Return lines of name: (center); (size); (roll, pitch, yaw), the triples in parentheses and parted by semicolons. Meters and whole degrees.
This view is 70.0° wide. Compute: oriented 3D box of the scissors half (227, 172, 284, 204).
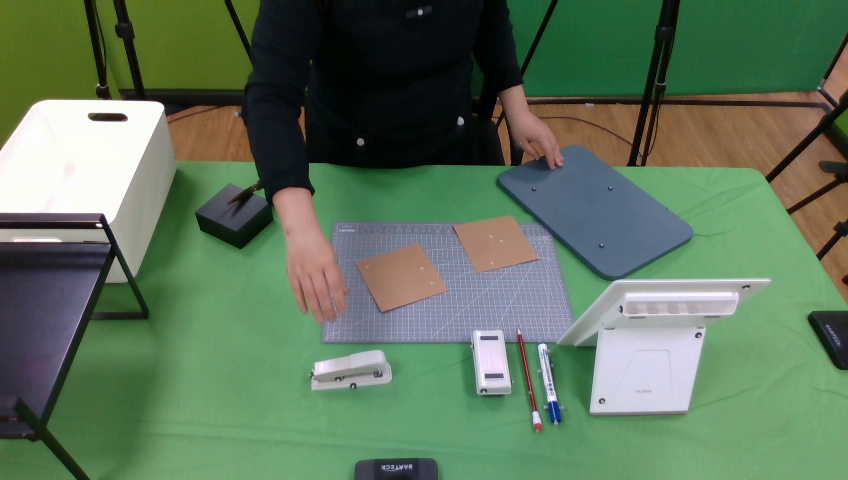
scissors half: (-0.340, -0.100, 1.230); (0.013, 0.040, 0.175); (20, 28, 18)

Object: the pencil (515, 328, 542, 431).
pencil: (0.169, 0.224, 1.002); (0.012, 0.012, 0.192); (-1, 46, -6)

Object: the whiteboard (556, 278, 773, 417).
whiteboard: (0.347, 0.174, 0.903); (0.217, 0.306, 0.143); (1, 65, -4)

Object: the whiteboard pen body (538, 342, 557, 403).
whiteboard pen body: (0.205, 0.229, 0.996); (0.017, 0.017, 0.140); (1, 46, -3)

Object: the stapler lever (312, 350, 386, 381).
stapler lever: (-0.120, 0.199, 0.963); (0.118, 0.040, 0.026); (-4, 44, -8)

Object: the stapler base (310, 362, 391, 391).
stapler base: (-0.119, 0.215, 0.980); (0.131, 0.024, 0.041); (-5, 44, -7)

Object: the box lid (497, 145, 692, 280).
box lid: (0.360, -0.073, 1.304); (0.263, 0.015, 0.369); (-24, 51, -25)

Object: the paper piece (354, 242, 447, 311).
paper piece: (-0.045, 0.066, 1.137); (0.136, 0.009, 0.137); (-14, 48, -22)

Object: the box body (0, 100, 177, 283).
box body: (-0.640, -0.095, 1.140); (0.254, 0.161, 0.361); (0, 46, -4)

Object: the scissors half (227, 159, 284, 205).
scissors half: (-0.337, -0.116, 1.217); (0.013, 0.040, 0.174); (24, 46, 14)

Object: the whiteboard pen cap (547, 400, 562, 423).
whiteboard pen cap: (0.205, 0.270, 0.956); (0.018, 0.018, 0.033); (0, 47, -5)

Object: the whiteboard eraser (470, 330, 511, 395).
whiteboard eraser: (0.109, 0.203, 0.998); (0.055, 0.042, 0.112); (1, 46, -5)

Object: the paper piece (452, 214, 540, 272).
paper piece: (0.142, 0.003, 1.212); (0.135, 0.004, 0.135); (-11, 47, -14)
